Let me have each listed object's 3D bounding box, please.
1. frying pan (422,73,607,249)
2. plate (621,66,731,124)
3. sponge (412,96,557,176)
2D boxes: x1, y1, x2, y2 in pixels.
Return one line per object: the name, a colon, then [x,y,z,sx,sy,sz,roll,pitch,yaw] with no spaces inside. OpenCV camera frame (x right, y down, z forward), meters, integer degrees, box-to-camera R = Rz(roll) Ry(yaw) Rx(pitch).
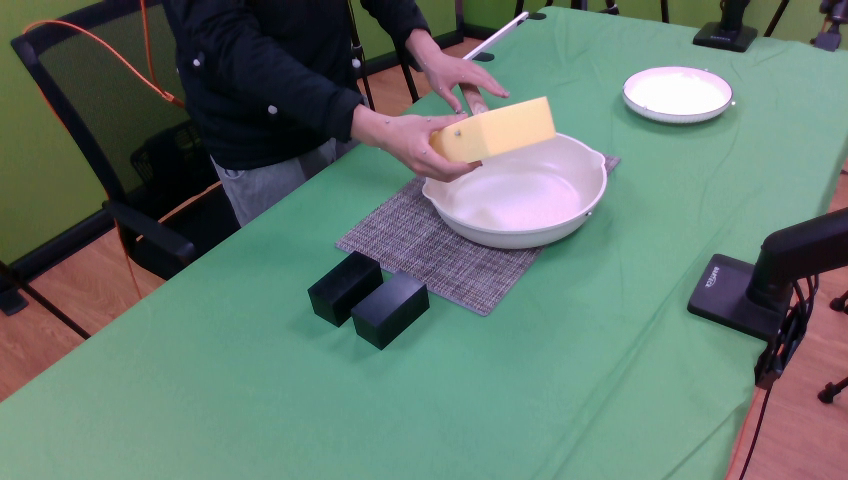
frying pan: [0.130,-0.161,1.069,0.307,0.103,0.484,-10,49,-5]
plate: [0.504,-0.288,1.221,0.207,0.039,0.206,-4,41,4]
sponge: [0.083,-0.151,0.908,0.119,0.061,0.205,-20,7,-27]
